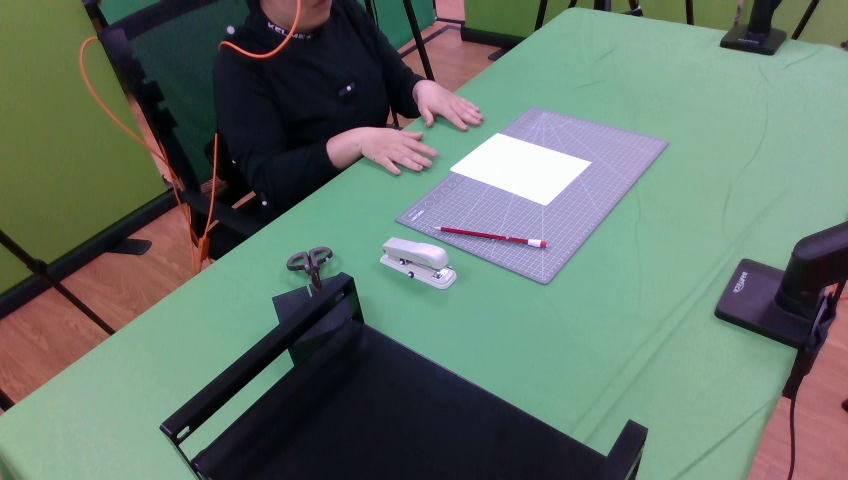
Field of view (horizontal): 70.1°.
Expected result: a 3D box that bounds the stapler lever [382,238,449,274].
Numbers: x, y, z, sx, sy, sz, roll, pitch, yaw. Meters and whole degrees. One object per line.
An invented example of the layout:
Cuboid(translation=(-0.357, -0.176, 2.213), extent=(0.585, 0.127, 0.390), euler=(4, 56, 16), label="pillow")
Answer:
Cuboid(translation=(-0.014, 0.018, 0.919), extent=(0.117, 0.040, 0.027), euler=(21, 45, 31), label="stapler lever")

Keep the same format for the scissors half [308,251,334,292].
Cuboid(translation=(-0.159, 0.046, 0.913), extent=(0.040, 0.013, 0.174), euler=(-4, 17, -5), label="scissors half")

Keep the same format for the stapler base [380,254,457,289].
Cuboid(translation=(-0.010, 0.037, 0.934), extent=(0.129, 0.024, 0.041), euler=(20, 45, 31), label="stapler base")

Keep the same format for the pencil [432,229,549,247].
Cuboid(translation=(0.103, -0.005, 0.970), extent=(0.193, 0.012, 0.012), euler=(8, 42, 18), label="pencil")

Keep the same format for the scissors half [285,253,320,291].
Cuboid(translation=(-0.179, 0.049, 0.909), extent=(0.040, 0.013, 0.174), euler=(-15, 19, -20), label="scissors half")
